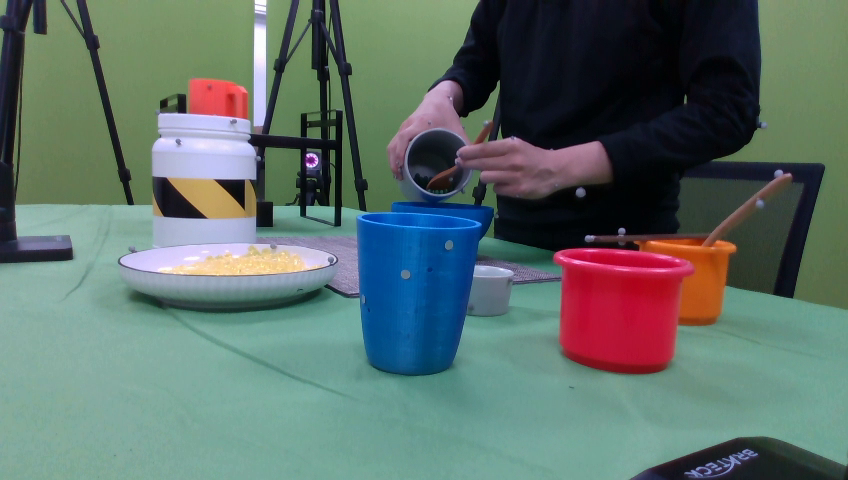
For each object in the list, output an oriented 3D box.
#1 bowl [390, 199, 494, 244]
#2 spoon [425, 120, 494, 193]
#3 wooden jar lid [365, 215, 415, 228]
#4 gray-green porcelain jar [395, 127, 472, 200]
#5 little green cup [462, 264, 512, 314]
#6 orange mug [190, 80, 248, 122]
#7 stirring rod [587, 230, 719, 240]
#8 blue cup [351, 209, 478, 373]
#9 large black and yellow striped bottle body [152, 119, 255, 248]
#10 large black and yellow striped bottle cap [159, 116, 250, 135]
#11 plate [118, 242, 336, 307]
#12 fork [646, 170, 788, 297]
[{"bbox_3d":[0.024,-0.015,0.871,0.151,0.077,0.151,3,7,0],"label":"bowl"},{"bbox_3d":[0.052,-0.113,0.867,0.042,0.021,0.193,-7,-18,-29],"label":"spoon"},{"bbox_3d":[-0.073,-0.040,1.291,0.108,0.020,0.108,3,8,0],"label":"wooden jar lid"},{"bbox_3d":[0.010,-0.113,0.956,0.106,0.105,0.126,1,-4,-10],"label":"gray-green porcelain jar"},{"bbox_3d":[0.053,0.047,0.580,0.061,0.038,0.061,3,8,0],"label":"little green cup"},{"bbox_3d":[-0.394,-0.257,1.172,0.126,0.100,0.084,1,6,25],"label":"orange mug"},{"bbox_3d":[0.226,-0.005,0.587,0.177,0.006,0.014,-2,10,-29],"label":"stirring rod"},{"bbox_3d":[-0.009,0.034,0.414,0.093,0.100,0.092,3,9,0],"label":"blue cup"},{"bbox_3d":[-0.296,-0.070,0.819,0.131,0.184,0.130,2,7,0],"label":"large black and yellow striped bottle body"},{"bbox_3d":[-0.292,-0.153,0.810,0.115,0.019,0.115,3,8,0],"label":"large black and yellow striped bottle cap"},{"bbox_3d":[-0.194,0.033,0.615,0.209,0.038,0.209,2,7,0],"label":"plate"},{"bbox_3d":[0.256,0.004,0.543,0.028,0.018,0.207,3,-36,-9],"label":"fork"}]
